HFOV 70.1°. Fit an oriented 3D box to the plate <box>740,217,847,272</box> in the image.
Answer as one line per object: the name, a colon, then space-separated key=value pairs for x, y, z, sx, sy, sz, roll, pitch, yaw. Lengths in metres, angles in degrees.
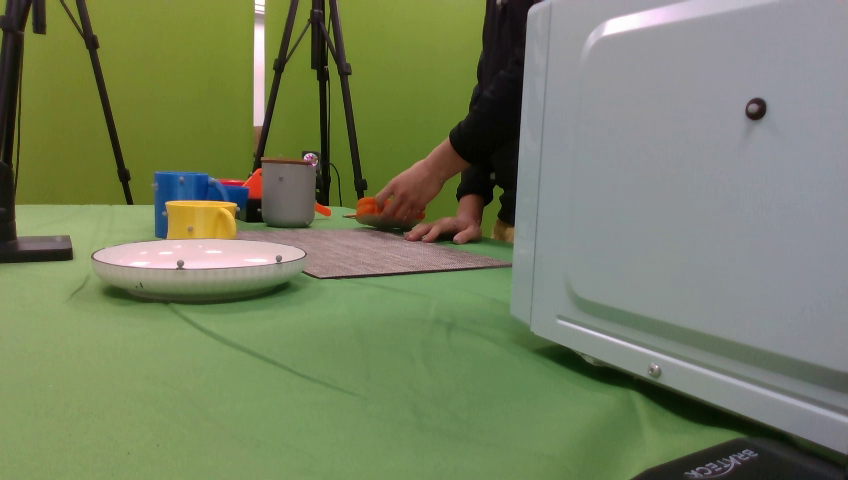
plate: x=0.358 y=0.002 z=0.465 sx=0.209 sy=0.038 sz=0.209 roll=0 pitch=4 yaw=0

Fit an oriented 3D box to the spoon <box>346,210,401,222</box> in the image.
spoon: x=-0.121 y=-0.060 z=1.400 sx=0.042 sy=0.021 sz=0.192 roll=-28 pitch=25 yaw=-37

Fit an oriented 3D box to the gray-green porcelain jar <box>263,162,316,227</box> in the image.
gray-green porcelain jar: x=-0.271 y=-0.092 z=1.217 sx=0.106 sy=0.126 sz=0.106 roll=2 pitch=7 yaw=0

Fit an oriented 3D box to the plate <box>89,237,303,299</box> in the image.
plate: x=-0.233 y=0.029 z=0.637 sx=0.208 sy=0.039 sz=0.207 roll=2 pitch=7 yaw=0

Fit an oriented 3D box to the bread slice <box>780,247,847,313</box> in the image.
bread slice: x=0.369 y=0.022 z=0.475 sx=0.132 sy=0.019 sz=0.104 roll=-23 pitch=11 yaw=-10

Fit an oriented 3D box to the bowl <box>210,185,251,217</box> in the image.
bowl: x=-0.408 y=-0.064 z=1.155 sx=0.151 sy=0.077 sz=0.151 roll=2 pitch=8 yaw=0

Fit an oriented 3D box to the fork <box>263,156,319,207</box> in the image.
fork: x=-0.331 y=-0.144 z=1.505 sx=0.207 sy=0.018 sz=0.028 roll=-42 pitch=-21 yaw=22

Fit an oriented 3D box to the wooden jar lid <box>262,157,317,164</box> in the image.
wooden jar lid: x=-0.269 y=-0.154 z=1.208 sx=0.108 sy=0.020 sz=0.108 roll=3 pitch=4 yaw=0

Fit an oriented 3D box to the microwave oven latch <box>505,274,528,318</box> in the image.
microwave oven latch: x=0.100 y=0.041 z=0.471 sx=0.079 sy=0.029 sz=0.030 roll=-1 pitch=8 yaw=-28

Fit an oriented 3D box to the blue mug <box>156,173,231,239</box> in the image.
blue mug: x=-0.381 y=-0.057 z=1.004 sx=0.117 sy=0.106 sz=0.082 roll=0 pitch=8 yaw=-12

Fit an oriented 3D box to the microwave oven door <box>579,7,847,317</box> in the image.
microwave oven door: x=0.294 y=-0.067 z=0.570 sx=0.358 sy=0.243 sz=0.039 roll=-3 pitch=9 yaw=-31

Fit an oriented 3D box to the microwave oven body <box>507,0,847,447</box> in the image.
microwave oven body: x=0.331 y=-0.042 z=0.425 sx=0.444 sy=0.260 sz=0.324 roll=-2 pitch=8 yaw=-31

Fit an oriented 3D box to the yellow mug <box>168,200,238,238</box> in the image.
yellow mug: x=-0.320 y=-0.023 z=0.904 sx=0.130 sy=0.064 sz=0.100 roll=9 pitch=10 yaw=36

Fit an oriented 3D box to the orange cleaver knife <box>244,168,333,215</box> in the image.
orange cleaver knife: x=-0.300 y=-0.089 z=1.351 sx=0.212 sy=0.077 sz=0.012 roll=28 pitch=-9 yaw=-34

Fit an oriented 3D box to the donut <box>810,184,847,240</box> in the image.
donut: x=0.352 y=-0.025 z=0.463 sx=0.099 sy=0.048 sz=0.099 roll=-10 pitch=4 yaw=1

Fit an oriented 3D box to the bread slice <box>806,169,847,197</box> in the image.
bread slice: x=0.365 y=-0.051 z=0.453 sx=0.135 sy=0.018 sz=0.106 roll=-10 pitch=1 yaw=-23
